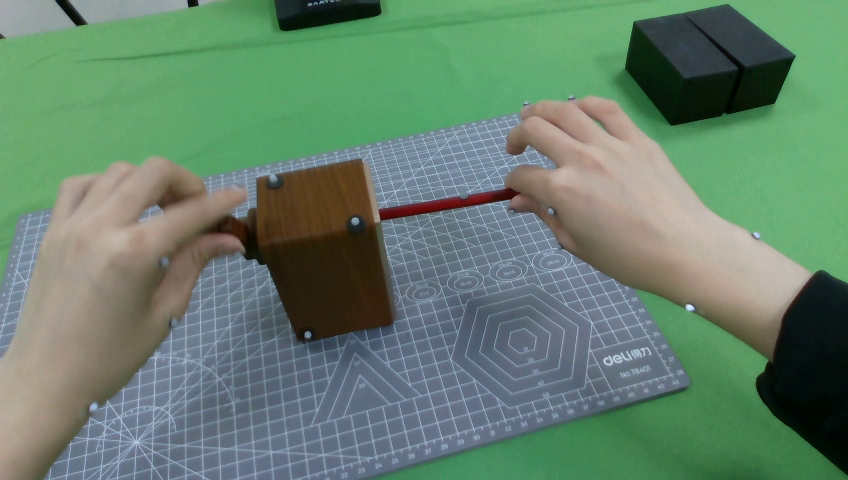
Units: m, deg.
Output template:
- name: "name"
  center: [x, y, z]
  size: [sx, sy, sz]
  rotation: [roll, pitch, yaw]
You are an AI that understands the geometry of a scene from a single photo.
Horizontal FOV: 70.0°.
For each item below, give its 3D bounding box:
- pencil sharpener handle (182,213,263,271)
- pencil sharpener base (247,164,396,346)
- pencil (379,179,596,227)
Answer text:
- name: "pencil sharpener handle"
  center: [-0.115, 0.000, 0.354]
  size: [0.031, 0.068, 0.036]
  rotation: [-11, 77, -5]
- name: "pencil sharpener base"
  center: [-0.064, 0.013, 0.394]
  size: [0.077, 0.108, 0.060]
  rotation: [-11, 48, -5]
- name: "pencil"
  center: [0.015, -0.019, 0.383]
  size: [0.194, 0.012, 0.012]
  rotation: [-10, 48, -5]
